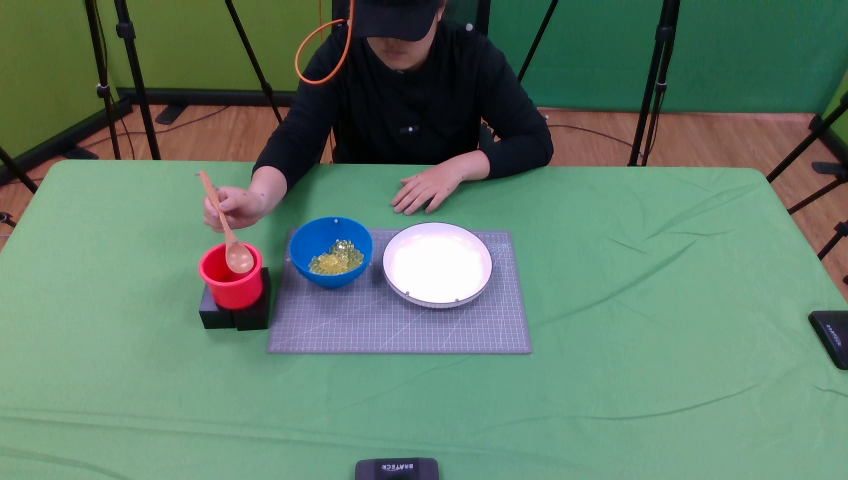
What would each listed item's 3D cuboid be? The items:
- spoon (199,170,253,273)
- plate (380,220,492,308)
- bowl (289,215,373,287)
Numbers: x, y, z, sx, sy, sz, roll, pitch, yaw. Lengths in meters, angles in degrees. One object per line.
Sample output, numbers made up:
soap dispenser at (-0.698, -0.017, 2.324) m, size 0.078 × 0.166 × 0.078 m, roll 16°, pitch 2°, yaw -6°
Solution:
spoon at (-0.332, -0.032, 1.006) m, size 0.041 × 0.021 × 0.193 m, roll -21°, pitch 83°, yaw -22°
plate at (0.022, 0.048, 1.137) m, size 0.208 × 0.039 × 0.206 m, roll 2°, pitch 46°, yaw -2°
bowl at (-0.168, 0.034, 1.109) m, size 0.151 × 0.077 × 0.150 m, roll 2°, pitch 46°, yaw -2°
